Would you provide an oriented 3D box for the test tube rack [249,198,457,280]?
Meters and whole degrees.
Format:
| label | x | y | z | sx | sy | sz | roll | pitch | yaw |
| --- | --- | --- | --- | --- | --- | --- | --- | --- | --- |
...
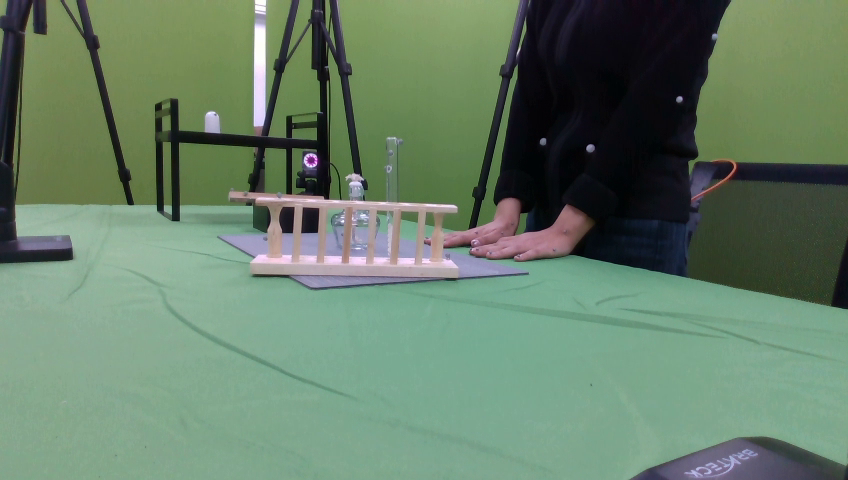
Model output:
| label | x | y | z | sx | sy | sz | roll | pitch | yaw |
| --- | --- | --- | --- | --- | --- | --- | --- | --- | --- |
| test tube rack | -0.082 | -0.002 | 0.733 | 0.243 | 0.085 | 0.066 | 2 | 8 | -8 |

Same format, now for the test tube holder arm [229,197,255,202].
| label | x | y | z | sx | sy | sz | roll | pitch | yaw |
| --- | --- | --- | --- | --- | --- | --- | --- | --- | --- |
| test tube holder arm | -0.320 | -0.079 | 1.133 | 0.088 | 0.015 | 0.010 | -1 | -24 | -27 |

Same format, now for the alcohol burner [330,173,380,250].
| label | x | y | z | sx | sy | sz | roll | pitch | yaw |
| --- | --- | --- | --- | --- | --- | --- | --- | --- | --- |
| alcohol burner | -0.107 | -0.044 | 0.938 | 0.078 | 0.119 | 0.078 | 1 | 6 | 0 |

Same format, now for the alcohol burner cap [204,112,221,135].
| label | x | y | z | sx | sy | sz | roll | pitch | yaw |
| --- | --- | --- | --- | --- | --- | --- | --- | --- | --- |
| alcohol burner cap | -0.444 | -0.245 | 1.270 | 0.034 | 0.048 | 0.034 | 4 | 8 | 0 |

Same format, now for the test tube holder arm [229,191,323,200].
| label | x | y | z | sx | sy | sz | roll | pitch | yaw |
| --- | --- | --- | --- | --- | --- | --- | --- | --- | --- |
| test tube holder arm | -0.278 | -0.082 | 1.150 | 0.179 | 0.015 | 0.013 | -1 | -25 | -28 |

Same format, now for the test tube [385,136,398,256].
| label | x | y | z | sx | sy | sz | roll | pitch | yaw |
| --- | --- | --- | --- | --- | --- | --- | --- | --- | --- |
| test tube | -0.040 | -0.053 | 0.751 | 0.017 | 0.150 | 0.017 | 0 | 5 | 0 |
